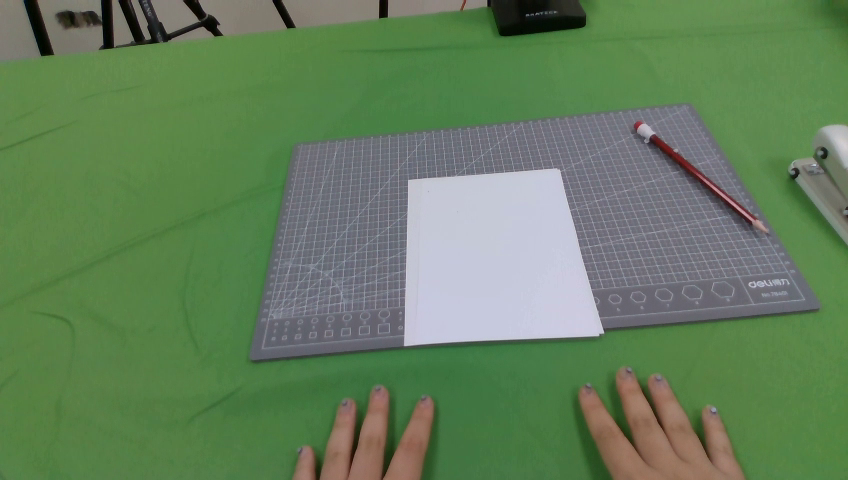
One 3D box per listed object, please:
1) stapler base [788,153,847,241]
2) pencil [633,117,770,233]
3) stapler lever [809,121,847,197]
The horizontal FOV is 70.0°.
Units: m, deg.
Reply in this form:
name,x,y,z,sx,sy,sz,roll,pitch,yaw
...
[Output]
name,x,y,z,sx,sy,sz,roll,pitch,yaw
stapler base,0.375,-0.042,0.539,0.041,0.025,0.129,-9,46,3
pencil,0.261,-0.067,0.584,0.012,0.012,0.191,-19,46,-12
stapler lever,0.373,-0.058,0.521,0.027,0.040,0.117,-9,45,3
